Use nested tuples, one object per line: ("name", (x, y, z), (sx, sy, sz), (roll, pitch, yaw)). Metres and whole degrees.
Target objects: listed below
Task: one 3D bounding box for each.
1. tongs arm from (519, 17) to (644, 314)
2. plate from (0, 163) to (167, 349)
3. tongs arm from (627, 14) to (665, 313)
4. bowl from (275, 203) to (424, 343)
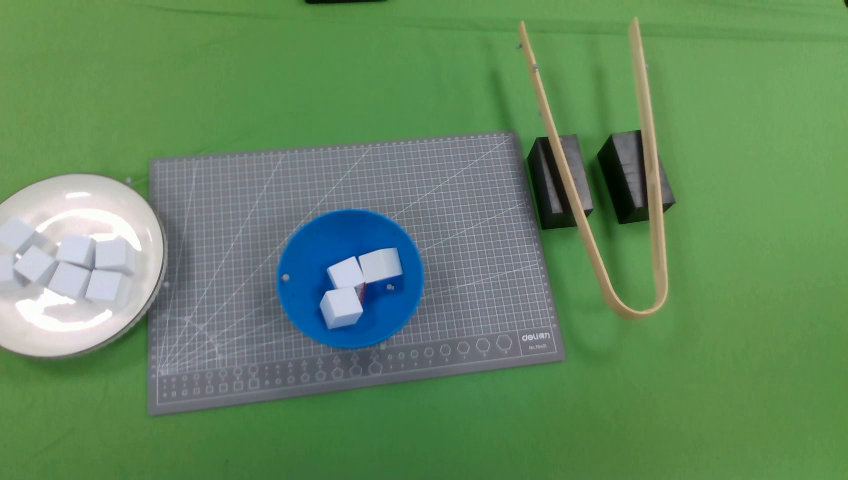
("tongs arm", (0.176, -0.099, 0.703), (0.051, 0.026, 0.382), (-7, 71, -9))
("plate", (-0.382, 0.017, 0.656), (0.208, 0.039, 0.206), (1, 71, -4))
("tongs arm", (0.255, -0.103, 0.711), (0.028, 0.028, 0.385), (6, 70, -8))
("bowl", (-0.078, 0.043, 0.651), (0.151, 0.077, 0.150), (2, 70, -5))
